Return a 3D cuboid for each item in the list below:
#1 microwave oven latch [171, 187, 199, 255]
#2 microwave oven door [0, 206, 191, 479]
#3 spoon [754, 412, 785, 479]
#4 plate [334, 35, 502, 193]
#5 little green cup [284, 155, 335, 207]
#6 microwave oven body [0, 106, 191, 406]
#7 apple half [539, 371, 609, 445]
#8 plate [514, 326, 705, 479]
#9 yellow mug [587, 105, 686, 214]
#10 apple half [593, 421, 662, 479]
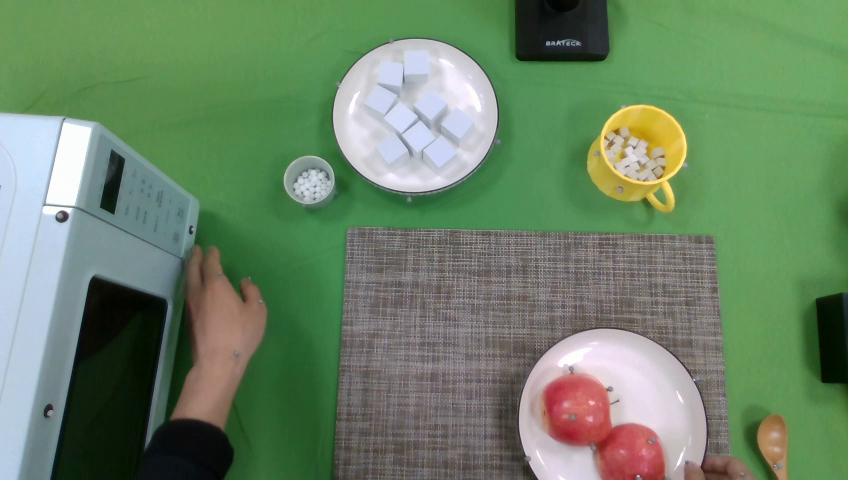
[{"bbox_3d":[-0.289,-0.023,0.719,0.030,0.029,0.079,7,79,2],"label":"microwave oven latch"},{"bbox_3d":[-0.312,0.168,0.575,0.039,0.245,0.354,4,78,2],"label":"microwave oven door"},{"bbox_3d":[0.397,0.289,0.669,0.042,0.021,0.193,-1,77,-21],"label":"spoon"},{"bbox_3d":[-0.007,-0.156,0.764,0.208,0.039,0.206,0,78,1],"label":"plate"},{"bbox_3d":[-0.138,-0.070,0.745,0.061,0.039,0.061,0,78,0],"label":"little green cup"},{"bbox_3d":[-0.454,0.115,0.593,0.326,0.261,0.439,5,78,1],"label":"microwave oven body"},{"bbox_3d":[0.167,0.185,0.668,0.074,0.053,0.080,-2,78,3],"label":"apple half"},{"bbox_3d":[0.203,0.201,0.679,0.209,0.038,0.208,0,78,1],"label":"plate"},{"bbox_3d":[0.262,-0.091,0.731,0.100,0.064,0.130,-27,80,-5],"label":"yellow mug"},{"bbox_3d":[0.226,0.239,0.664,0.081,0.033,0.081,0,74,2],"label":"apple half"}]
